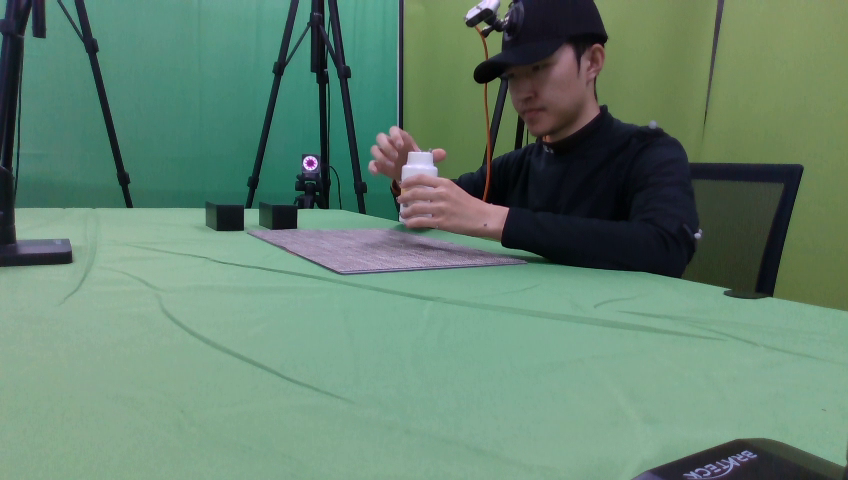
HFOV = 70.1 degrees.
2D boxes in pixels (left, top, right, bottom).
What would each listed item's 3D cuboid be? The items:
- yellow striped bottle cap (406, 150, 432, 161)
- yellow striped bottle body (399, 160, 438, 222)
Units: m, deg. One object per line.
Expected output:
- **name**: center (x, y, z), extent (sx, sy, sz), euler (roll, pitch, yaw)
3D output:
- **yellow striped bottle cap**: center (-0.007, -0.143, 1.027), extent (0.044, 0.018, 0.044), euler (4, 8, 0)
- **yellow striped bottle body**: center (-0.009, -0.092, 1.031), extent (0.063, 0.120, 0.063), euler (3, 4, 0)
